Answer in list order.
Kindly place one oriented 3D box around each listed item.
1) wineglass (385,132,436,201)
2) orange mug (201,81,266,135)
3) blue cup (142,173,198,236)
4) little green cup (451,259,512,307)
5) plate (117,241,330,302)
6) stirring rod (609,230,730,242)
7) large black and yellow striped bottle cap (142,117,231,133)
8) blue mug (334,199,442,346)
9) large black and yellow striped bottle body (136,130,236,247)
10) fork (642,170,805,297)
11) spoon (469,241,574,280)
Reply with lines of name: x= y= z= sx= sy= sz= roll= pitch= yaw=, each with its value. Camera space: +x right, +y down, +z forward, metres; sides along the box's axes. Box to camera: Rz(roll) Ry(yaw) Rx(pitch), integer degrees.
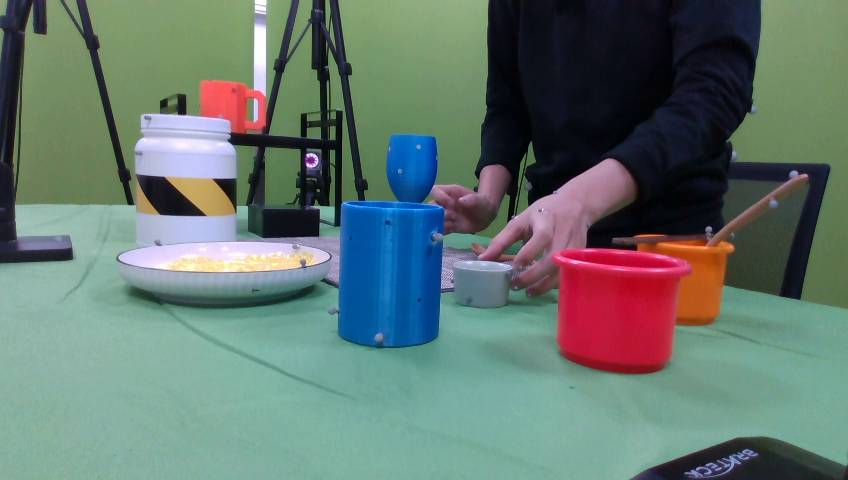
wineglass: x=-0.020 y=-0.061 z=0.838 sx=0.074 sy=0.172 sz=0.073 roll=2 pitch=7 yaw=0
orange mug: x=-0.377 y=-0.259 z=1.198 sx=0.126 sy=0.101 sz=0.083 roll=-2 pitch=7 yaw=-6
blue cup: x=-0.425 y=-0.060 z=1.014 sx=0.093 sy=0.100 sz=0.092 roll=3 pitch=9 yaw=0
little green cup: x=0.057 y=0.043 z=0.612 sx=0.061 sy=0.038 sz=0.061 roll=3 pitch=8 yaw=0
plate: x=-0.203 y=0.031 z=0.630 sx=0.209 sy=0.038 sz=0.209 roll=3 pitch=7 yaw=0
stirring rod: x=0.241 y=-0.004 z=0.582 sx=0.177 sy=0.006 sz=0.014 roll=-3 pitch=10 yaw=-33
large black and yellow striped bottle cap: x=-0.328 y=-0.159 z=0.839 sx=0.115 sy=0.019 sz=0.115 roll=1 pitch=9 yaw=0
blue mug: x=-0.034 y=0.020 z=0.498 sx=0.083 sy=0.106 sz=0.116 roll=0 pitch=7 yaw=-20
large black and yellow striped bottle body: x=-0.332 y=-0.076 z=0.851 sx=0.131 sy=0.184 sz=0.130 roll=3 pitch=8 yaw=0
fork: x=0.261 y=0.004 z=0.545 sx=0.028 sy=0.018 sz=0.207 roll=5 pitch=-37 yaw=-15
spoon: x=0.124 y=0.025 z=0.801 sx=0.042 sy=0.021 sz=0.192 roll=20 pitch=-4 yaw=-35
